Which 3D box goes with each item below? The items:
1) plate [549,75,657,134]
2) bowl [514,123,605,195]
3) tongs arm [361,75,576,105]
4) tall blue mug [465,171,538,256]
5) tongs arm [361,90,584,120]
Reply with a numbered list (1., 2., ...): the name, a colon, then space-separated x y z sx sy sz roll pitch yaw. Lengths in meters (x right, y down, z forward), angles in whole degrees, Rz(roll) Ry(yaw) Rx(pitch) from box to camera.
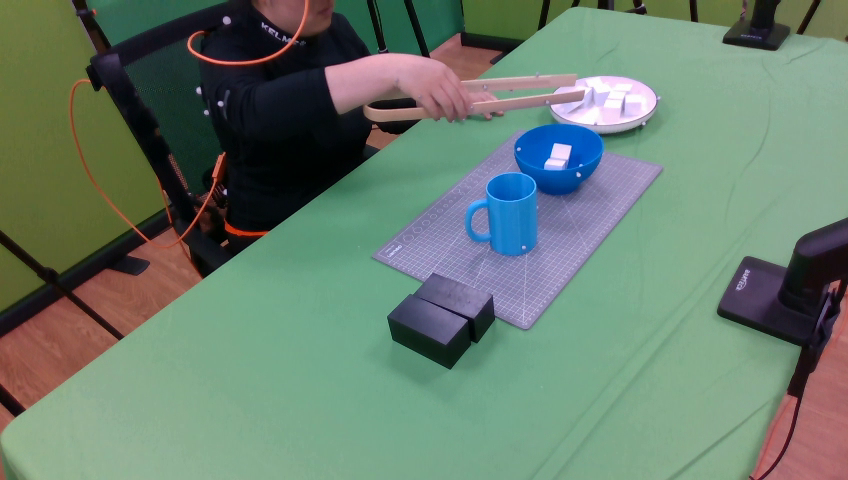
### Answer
1. plate: 0.357 -0.269 1.220 0.209 0.038 0.208 -5 41 5
2. bowl: 0.232 -0.131 1.046 0.151 0.077 0.150 -5 40 5
3. tongs arm: 0.083 -0.259 1.062 0.385 0.026 0.050 -3 53 -3
4. tall blue mug: 0.125 -0.033 0.925 0.107 0.108 0.077 -32 46 -25
5. tongs arm: 0.087 -0.236 1.045 0.388 0.028 0.028 -5 57 -5
